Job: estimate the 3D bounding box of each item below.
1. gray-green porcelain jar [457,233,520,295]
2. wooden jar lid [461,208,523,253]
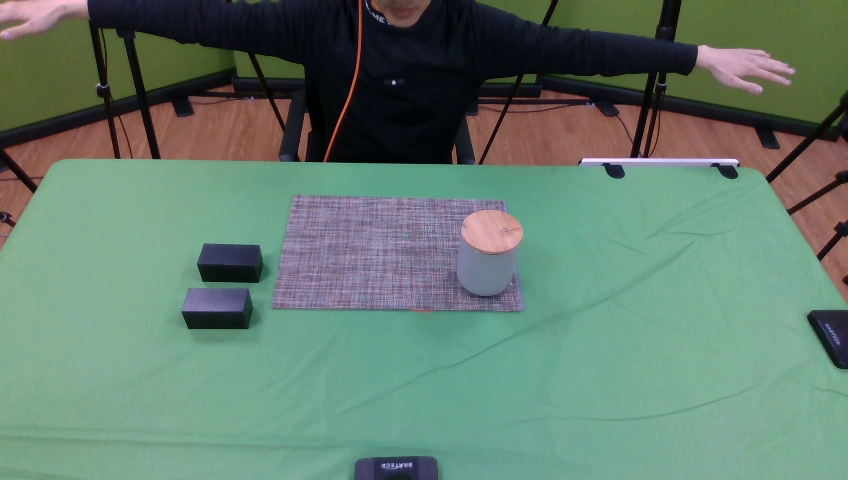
[{"bbox_3d":[0.115,0.030,1.099,0.106,0.127,0.105,2,46,-2],"label":"gray-green porcelain jar"},{"bbox_3d":[0.118,-0.013,1.053,0.108,0.021,0.107,0,43,0],"label":"wooden jar lid"}]
